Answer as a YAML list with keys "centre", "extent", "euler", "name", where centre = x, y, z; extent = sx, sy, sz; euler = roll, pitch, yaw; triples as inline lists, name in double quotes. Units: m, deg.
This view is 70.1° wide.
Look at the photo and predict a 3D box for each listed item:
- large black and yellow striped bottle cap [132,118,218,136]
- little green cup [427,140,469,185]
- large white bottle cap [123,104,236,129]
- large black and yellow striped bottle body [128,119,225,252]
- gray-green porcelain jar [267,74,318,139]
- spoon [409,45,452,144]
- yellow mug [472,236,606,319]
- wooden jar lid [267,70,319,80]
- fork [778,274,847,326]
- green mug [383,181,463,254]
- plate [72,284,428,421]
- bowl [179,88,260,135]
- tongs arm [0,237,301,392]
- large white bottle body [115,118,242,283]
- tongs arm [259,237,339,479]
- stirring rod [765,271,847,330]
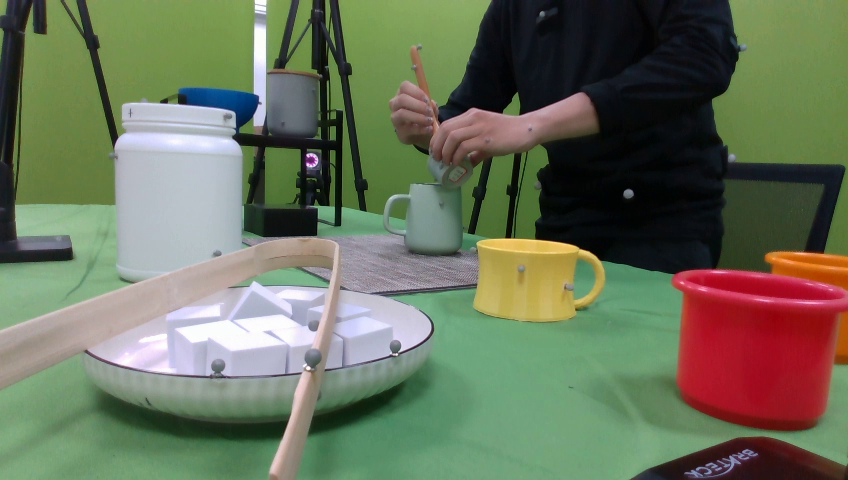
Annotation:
- centre: [-0.359, -0.164, 0.875]
  extent: [0.115, 0.019, 0.115]
  euler: [2, 6, 0]
  name: "large black and yellow striped bottle cap"
- centre: [0.033, -0.110, 0.874]
  extent: [0.061, 0.038, 0.061]
  euler: [6, -34, 5]
  name: "little green cup"
- centre: [-0.266, -0.134, 0.663]
  extent: [0.115, 0.018, 0.115]
  euler: [3, 7, 0]
  name: "large white bottle cap"
- centre: [-0.361, -0.081, 0.887]
  extent: [0.131, 0.184, 0.130]
  euler: [2, 8, 0]
  name: "large black and yellow striped bottle body"
- centre: [-0.277, -0.279, 1.280]
  extent: [0.106, 0.126, 0.106]
  euler: [2, 7, 0]
  name: "gray-green porcelain jar"
- centre: [0.010, -0.186, 0.873]
  extent: [0.041, 0.193, 0.021]
  euler: [-19, 1, 2]
  name: "spoon"
- centre: [0.114, 0.034, 0.590]
  extent: [0.131, 0.064, 0.100]
  euler: [3, 6, -7]
  name: "yellow mug"
- centre: [-0.275, -0.339, 1.271]
  extent: [0.108, 0.020, 0.108]
  euler: [5, 6, 0]
  name: "wooden jar lid"
- centre: [0.332, 0.018, 0.443]
  extent: [0.028, 0.018, 0.207]
  euler: [-2, -35, -16]
  name: "fork"
- centre: [-0.001, -0.036, 0.922]
  extent: [0.126, 0.105, 0.092]
  euler: [0, 8, -16]
  name: "green mug"
- centre: [-0.102, 0.067, 0.381]
  extent: [0.208, 0.039, 0.207]
  euler: [3, 7, 0]
  name: "plate"
- centre: [-0.400, -0.248, 1.188]
  extent: [0.151, 0.077, 0.151]
  euler: [2, 6, 0]
  name: "bowl"
- centre: [-0.158, 0.038, 0.346]
  extent: [0.028, 0.028, 0.388]
  euler: [-3, 8, 11]
  name: "tongs arm"
- centre: [-0.270, -0.051, 0.674]
  extent: [0.131, 0.184, 0.130]
  euler: [2, 8, 0]
  name: "large white bottle body"
- centre: [-0.074, 0.040, 0.345]
  extent: [0.051, 0.026, 0.384]
  euler: [-1, 9, -3]
  name: "tongs arm"
- centre: [0.352, 0.020, 0.481]
  extent: [0.176, 0.006, 0.014]
  euler: [-40, -8, 17]
  name: "stirring rod"
